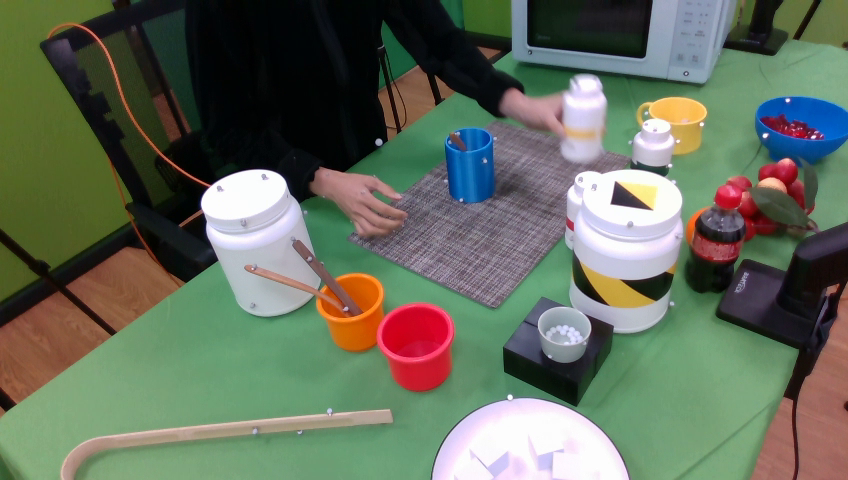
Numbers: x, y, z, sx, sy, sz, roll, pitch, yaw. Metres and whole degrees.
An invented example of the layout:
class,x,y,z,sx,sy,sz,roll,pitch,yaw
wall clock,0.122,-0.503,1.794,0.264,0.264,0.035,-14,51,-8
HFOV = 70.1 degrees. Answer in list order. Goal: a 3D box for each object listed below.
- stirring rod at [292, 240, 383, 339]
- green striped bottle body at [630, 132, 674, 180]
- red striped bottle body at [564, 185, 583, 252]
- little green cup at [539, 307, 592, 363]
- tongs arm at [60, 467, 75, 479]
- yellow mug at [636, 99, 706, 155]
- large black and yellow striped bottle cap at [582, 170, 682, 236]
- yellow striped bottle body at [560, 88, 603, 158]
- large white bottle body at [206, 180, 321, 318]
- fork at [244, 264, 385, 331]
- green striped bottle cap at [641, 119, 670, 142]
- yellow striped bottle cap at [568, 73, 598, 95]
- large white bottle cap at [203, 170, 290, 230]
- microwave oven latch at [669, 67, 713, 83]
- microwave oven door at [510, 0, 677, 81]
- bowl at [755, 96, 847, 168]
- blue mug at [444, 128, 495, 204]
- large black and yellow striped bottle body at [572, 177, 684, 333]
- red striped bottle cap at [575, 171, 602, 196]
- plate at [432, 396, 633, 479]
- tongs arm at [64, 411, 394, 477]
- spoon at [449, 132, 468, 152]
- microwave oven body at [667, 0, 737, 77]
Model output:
class,x,y,z,sx,sy,sz,roll,pitch,yaw
stirring rod,-0.118,0.068,0.826,0.176,0.006,0.014,49,59,-4
green striped bottle body,0.376,-0.135,1.001,0.063,0.120,0.063,-5,41,5
red striped bottle body,0.247,-0.041,0.910,0.063,0.120,0.062,-3,39,3
little green cup,0.167,0.114,0.721,0.061,0.039,0.061,-4,43,4
tongs arm,-0.239,0.301,0.648,0.386,0.028,0.028,6,49,16
yellow mug,0.452,-0.217,1.128,0.100,0.064,0.129,-33,46,-28
large black and yellow striped bottle cap,0.252,-0.048,0.735,0.115,0.019,0.114,-3,40,3
yellow striped bottle body,0.244,-0.194,0.939,0.063,0.121,0.062,-5,37,4
large white bottle body,-0.233,0.007,0.876,0.130,0.185,0.130,-5,40,4
fork,-0.142,0.078,0.806,0.209,0.018,0.028,30,32,-23
green striped bottle cap,0.371,-0.175,0.968,0.044,0.020,0.044,-4,41,4
yellow striped bottle cap,0.239,-0.235,0.908,0.044,0.019,0.044,-4,38,4
large white bottle cap,-0.241,-0.057,0.822,0.115,0.018,0.114,-4,40,4
microwave oven latch,0.556,-0.349,1.261,0.078,0.029,0.030,16,46,27
microwave oven door,0.353,-0.478,1.290,0.353,0.245,0.039,15,45,25
bowl,0.645,-0.177,1.041,0.151,0.077,0.150,-5,40,4
blue mug,0.081,-0.139,1.058,0.082,0.106,0.116,-4,40,5
large black and yellow striped bottle body,0.262,0.017,0.788,0.131,0.185,0.130,-5,40,4
red striped bottle cap,0.242,-0.081,0.876,0.044,0.018,0.044,-5,43,5
plate,0.112,0.261,0.634,0.209,0.038,0.208,-5,40,4
tongs arm,-0.228,0.241,0.715,0.385,0.026,0.050,-5,43,4
spoon,0.067,-0.143,0.998,0.041,0.195,0.021,9,79,18
microwave oven body,0.462,-0.552,1.369,0.439,0.261,0.326,15,45,26
